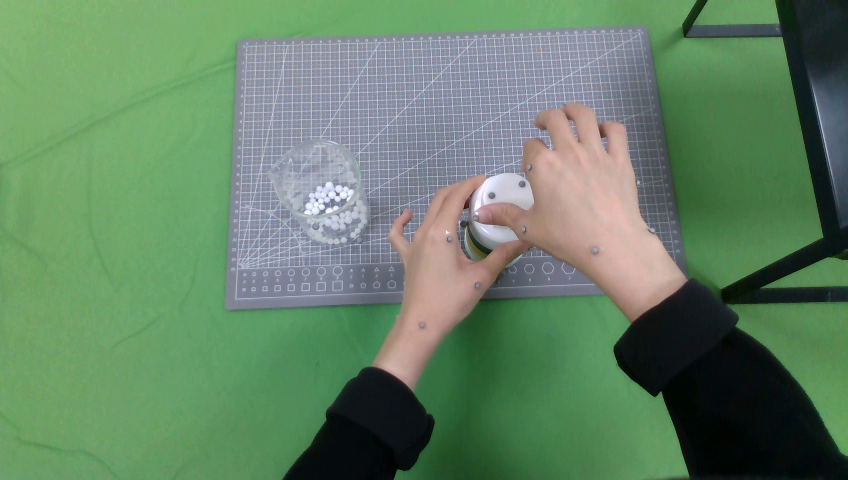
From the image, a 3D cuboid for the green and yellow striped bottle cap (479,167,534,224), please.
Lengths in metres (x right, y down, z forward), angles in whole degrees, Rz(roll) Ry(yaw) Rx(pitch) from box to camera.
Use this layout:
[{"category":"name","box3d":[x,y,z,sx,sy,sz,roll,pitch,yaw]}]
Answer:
[{"category":"green and yellow striped bottle cap","box3d":[0.068,-0.037,0.497,0.045,0.020,0.045,0,78,0]}]

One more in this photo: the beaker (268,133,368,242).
[{"category":"beaker","box3d":[-0.093,-0.044,0.564,0.084,0.101,0.073,9,73,3]}]

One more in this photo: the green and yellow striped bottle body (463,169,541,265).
[{"category":"green and yellow striped bottle body","box3d":[0.069,-0.022,0.546,0.063,0.120,0.063,0,74,1]}]
